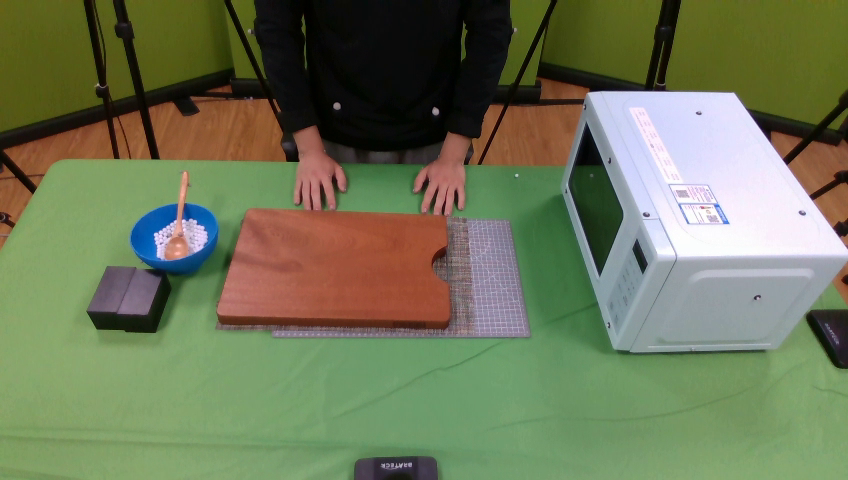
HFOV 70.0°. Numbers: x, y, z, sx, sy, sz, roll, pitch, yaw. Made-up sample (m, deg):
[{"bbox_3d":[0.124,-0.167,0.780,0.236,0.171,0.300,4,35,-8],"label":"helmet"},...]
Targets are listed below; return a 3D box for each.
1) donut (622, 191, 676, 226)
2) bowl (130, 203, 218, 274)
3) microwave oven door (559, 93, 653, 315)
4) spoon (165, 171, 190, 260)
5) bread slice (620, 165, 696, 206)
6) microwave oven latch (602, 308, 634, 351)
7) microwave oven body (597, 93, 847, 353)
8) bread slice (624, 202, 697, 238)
[{"bbox_3d":[0.435,-0.061,1.174,0.099,0.048,0.098,-7,28,4],"label":"donut"},{"bbox_3d":[-0.450,0.010,1.117,0.151,0.077,0.150,3,45,-3],"label":"bowl"},{"bbox_3d":[0.327,-0.074,1.123,0.039,0.245,0.353,-1,46,-5],"label":"microwave oven door"},{"bbox_3d":[-0.452,-0.046,1.129,0.041,0.022,0.193,-1,69,-2],"label":"spoon"},{"bbox_3d":[0.446,-0.102,1.148,0.135,0.018,0.106,2,41,-23],"label":"bread slice"},{"bbox_3d":[0.332,0.153,1.044,0.030,0.029,0.078,-1,45,-4],"label":"microwave oven latch"},{"bbox_3d":[0.475,-0.041,1.110,0.326,0.261,0.438,-1,45,-4],"label":"microwave oven body"},{"bbox_3d":[0.468,-0.042,1.199,0.131,0.019,0.104,1,38,9],"label":"bread slice"}]
